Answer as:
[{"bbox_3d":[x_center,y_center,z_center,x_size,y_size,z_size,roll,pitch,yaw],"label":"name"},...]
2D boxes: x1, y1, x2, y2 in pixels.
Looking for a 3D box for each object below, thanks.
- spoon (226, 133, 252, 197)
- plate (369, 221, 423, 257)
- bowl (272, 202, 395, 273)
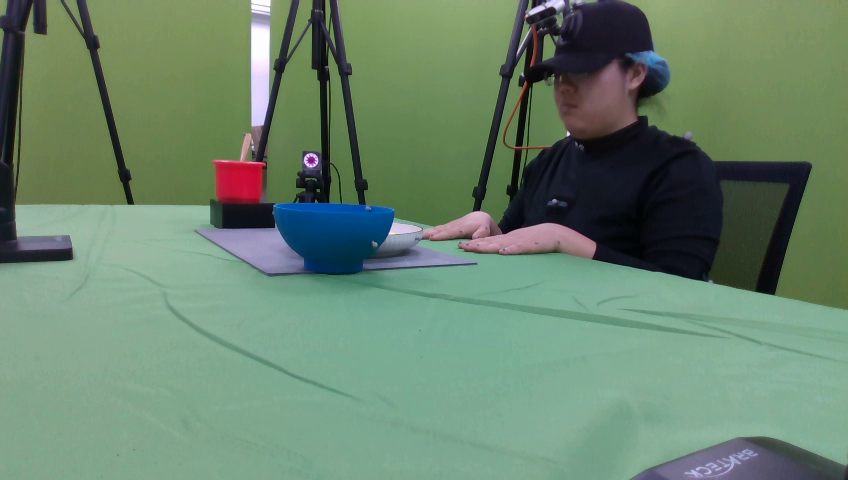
[{"bbox_3d":[-0.356,-0.150,1.189,0.042,0.021,0.193,0,51,-3],"label":"spoon"},{"bbox_3d":[-0.105,-0.004,0.923,0.208,0.039,0.207,3,7,0],"label":"plate"},{"bbox_3d":[-0.112,-0.003,0.752,0.151,0.077,0.151,3,7,0],"label":"bowl"}]
